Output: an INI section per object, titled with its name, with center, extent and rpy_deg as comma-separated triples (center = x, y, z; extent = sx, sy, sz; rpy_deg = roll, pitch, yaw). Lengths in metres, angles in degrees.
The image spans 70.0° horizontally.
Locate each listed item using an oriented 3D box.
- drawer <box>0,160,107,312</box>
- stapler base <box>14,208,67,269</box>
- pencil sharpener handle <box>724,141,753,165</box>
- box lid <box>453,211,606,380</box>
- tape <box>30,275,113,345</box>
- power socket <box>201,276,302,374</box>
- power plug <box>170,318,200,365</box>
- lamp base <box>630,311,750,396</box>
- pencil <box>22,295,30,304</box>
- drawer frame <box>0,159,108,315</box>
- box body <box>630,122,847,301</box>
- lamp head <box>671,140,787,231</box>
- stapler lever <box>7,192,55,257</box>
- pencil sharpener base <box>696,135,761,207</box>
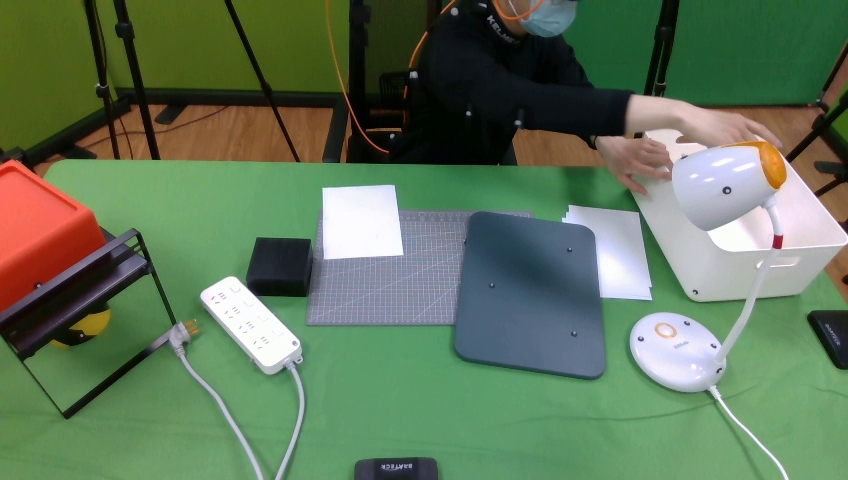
[drawer]
center = -0.610, -0.001, 0.866
extent = 0.194, 0.073, 0.211
rpy_deg = 29, 52, 21
[stapler base]
center = -0.577, -0.010, 0.903
extent = 0.041, 0.024, 0.130
rpy_deg = -31, 57, -25
[pencil sharpener handle]
center = 0.589, -0.166, 1.129
extent = 0.030, 0.068, 0.036
rpy_deg = -36, 78, -29
[box lid]
center = 0.200, 0.085, 1.138
extent = 0.263, 0.015, 0.369
rpy_deg = 8, 47, 3
[tape]
center = -0.593, 0.117, 1.021
extent = 0.117, 0.053, 0.116
rpy_deg = 3, 46, -2
[power socket]
center = -0.297, 0.141, 1.034
extent = 0.072, 0.033, 0.225
rpy_deg = -34, 58, -30
[power plug]
center = -0.392, 0.167, 1.014
extent = 0.052, 0.035, 0.072
rpy_deg = -30, 90, -23
[lamp base]
center = 0.447, 0.143, 0.983
extent = 0.161, 0.181, 0.178
rpy_deg = -24, 55, -24
[pencil]
center = -0.590, 0.010, 0.883
extent = 0.012, 0.012, 0.193
rpy_deg = -17, 61, -20
[drawer frame]
center = -0.611, 0.000, 0.863
extent = 0.201, 0.083, 0.213
rpy_deg = 27, 51, 20
[box body]
center = 0.594, -0.062, 1.202
extent = 0.254, 0.161, 0.361
rpy_deg = -4, 47, -7
[lamp head]
center = 0.415, -0.078, 0.811
extent = 0.113, 0.123, 0.112
rpy_deg = 12, 70, -37
[stapler lever]
center = -0.575, -0.026, 0.885
extent = 0.027, 0.040, 0.117
rpy_deg = -31, 56, -25
[pencil sharpener base]
center = 0.557, -0.127, 1.111
extent = 0.076, 0.107, 0.061
rpy_deg = -36, 55, -29
